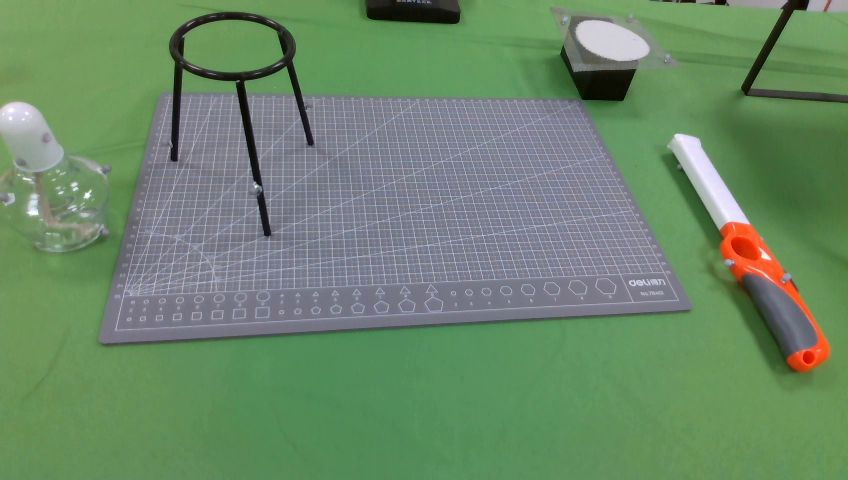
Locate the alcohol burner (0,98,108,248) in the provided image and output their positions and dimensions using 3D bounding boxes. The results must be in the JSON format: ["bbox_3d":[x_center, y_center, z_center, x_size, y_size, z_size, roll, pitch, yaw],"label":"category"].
[{"bbox_3d":[-0.277,-0.051,0.440,0.078,0.120,0.077,6,46,-5],"label":"alcohol burner"}]

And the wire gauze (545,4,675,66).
[{"bbox_3d":[0.207,-0.232,0.689,0.122,0.011,0.123,0,48,-11],"label":"wire gauze"}]

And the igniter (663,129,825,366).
[{"bbox_3d":[0.281,-0.008,0.548,0.057,0.025,0.273,7,47,-17],"label":"igniter"}]

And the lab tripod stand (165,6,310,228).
[{"bbox_3d":[-0.147,-0.104,0.491,0.149,0.132,0.147,6,48,-6],"label":"lab tripod stand"}]

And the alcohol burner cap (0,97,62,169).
[{"bbox_3d":[-0.273,-0.074,0.412,0.034,0.048,0.033,4,54,-5],"label":"alcohol burner cap"}]
